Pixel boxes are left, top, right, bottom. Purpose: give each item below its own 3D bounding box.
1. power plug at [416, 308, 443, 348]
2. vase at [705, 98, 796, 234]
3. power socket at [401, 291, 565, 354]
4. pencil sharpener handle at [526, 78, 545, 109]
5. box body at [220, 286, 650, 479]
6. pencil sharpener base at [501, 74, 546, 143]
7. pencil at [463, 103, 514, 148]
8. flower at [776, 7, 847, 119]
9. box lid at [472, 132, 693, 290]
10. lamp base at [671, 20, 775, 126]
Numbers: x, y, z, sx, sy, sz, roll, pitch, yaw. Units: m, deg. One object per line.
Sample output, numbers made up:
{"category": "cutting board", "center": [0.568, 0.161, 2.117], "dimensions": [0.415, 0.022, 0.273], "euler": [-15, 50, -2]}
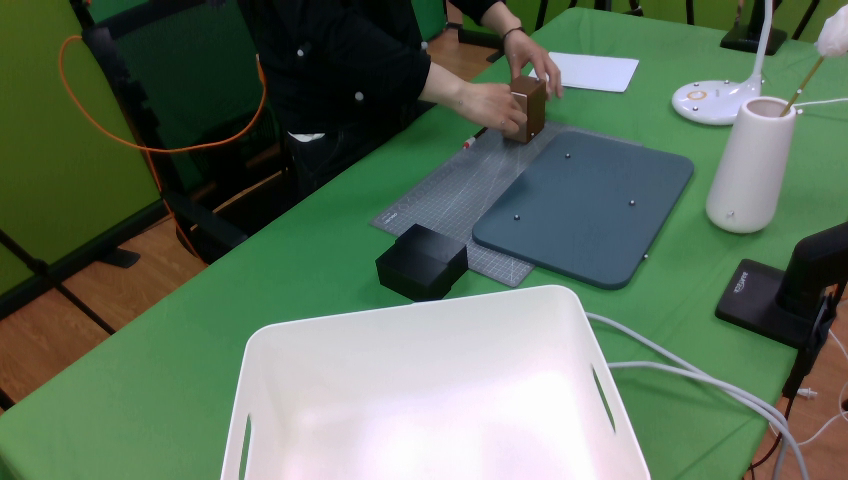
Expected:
{"category": "power plug", "center": [0.005, 0.121, 0.786], "dimensions": [0.035, 0.053, 0.072], "euler": [2, 46, 8]}
{"category": "vase", "center": [0.480, -0.104, 0.888], "dimensions": [0.098, 0.201, 0.097], "euler": [-4, 42, 4]}
{"category": "power socket", "center": [0.080, 0.111, 0.823], "dimensions": [0.227, 0.033, 0.072], "euler": [-5, 41, 1]}
{"category": "pencil sharpener handle", "center": [0.225, -0.294, 1.195], "dimensions": [0.035, 0.068, 0.031], "euler": [19, 47, 34]}
{"category": "box body", "center": [0.006, 0.210, 0.618], "dimensions": [0.364, 0.161, 0.252], "euler": [-8, 40, -1]}
{"category": "pencil sharpener base", "center": [0.194, -0.256, 1.174], "dimensions": [0.061, 0.107, 0.077], "euler": [22, 48, 31]}
{"category": "pencil", "center": [0.125, -0.215, 1.096], "dimensions": [0.012, 0.012, 0.194], "euler": [21, 46, 29]}
{"category": "flower", "center": [0.476, -0.156, 0.822], "dimensions": [0.038, 0.362, 0.044], "euler": [7, 58, 2]}
{"category": "box lid", "center": [0.273, -0.068, 1.020], "dimensions": [0.261, 0.015, 0.372], "euler": [20, 47, 28]}
{"category": "lamp base", "center": [0.581, -0.332, 1.154], "dimensions": [0.179, 0.181, 0.160], "euler": [2, 41, 7]}
